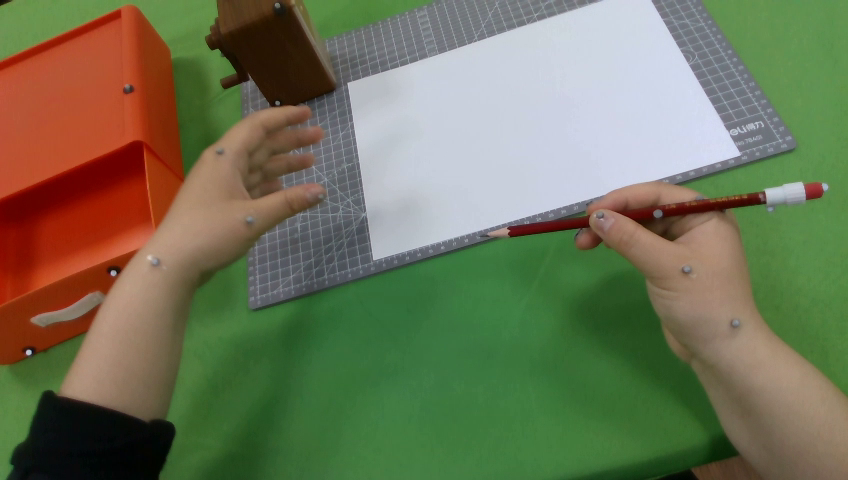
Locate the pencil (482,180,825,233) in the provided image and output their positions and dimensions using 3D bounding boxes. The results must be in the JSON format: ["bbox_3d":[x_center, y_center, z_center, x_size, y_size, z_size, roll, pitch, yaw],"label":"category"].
[{"bbox_3d":[0.129,-0.017,0.364,0.193,0.012,0.012,-7,59,19],"label":"pencil"}]

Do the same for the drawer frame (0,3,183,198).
[{"bbox_3d":[-0.360,-0.113,0.616,0.201,0.083,0.211,-23,57,3],"label":"drawer frame"}]

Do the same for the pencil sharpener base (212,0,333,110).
[{"bbox_3d":[-0.143,-0.187,0.579,0.076,0.108,0.060,-21,57,4],"label":"pencil sharpener base"}]

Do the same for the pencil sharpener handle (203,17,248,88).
[{"bbox_3d":[-0.193,-0.174,0.571,0.030,0.068,0.035,-21,54,4],"label":"pencil sharpener handle"}]

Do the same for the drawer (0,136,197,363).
[{"bbox_3d":[-0.323,-0.021,0.555,0.194,0.074,0.209,-24,57,2],"label":"drawer"}]
